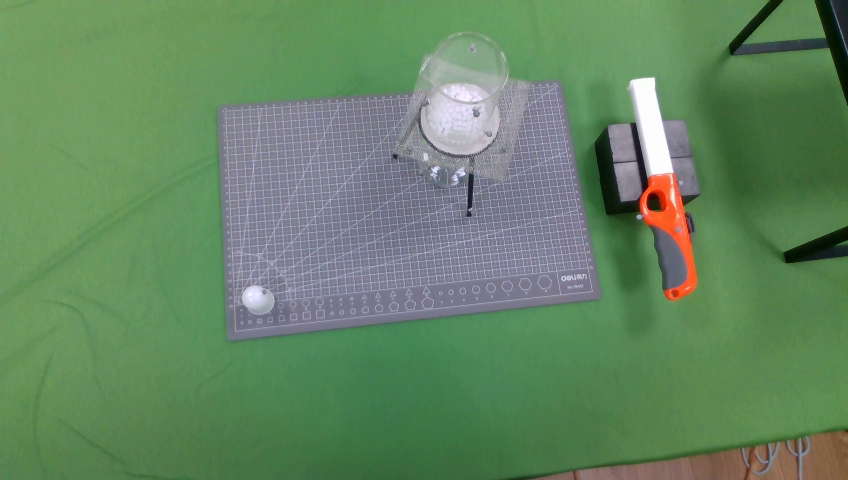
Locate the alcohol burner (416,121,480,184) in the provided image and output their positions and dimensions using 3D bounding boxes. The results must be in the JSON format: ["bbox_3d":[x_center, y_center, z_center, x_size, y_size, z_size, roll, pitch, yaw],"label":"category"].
[{"bbox_3d":[0.029,-0.111,0.717,0.078,0.119,0.077,1,78,-3],"label":"alcohol burner"}]

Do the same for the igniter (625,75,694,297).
[{"bbox_3d":[0.280,-0.069,0.724,0.057,0.025,0.275,-6,76,0],"label":"igniter"}]

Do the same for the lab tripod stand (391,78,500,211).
[{"bbox_3d":[0.034,-0.122,0.710,0.148,0.132,0.147,1,74,-3],"label":"lab tripod stand"}]

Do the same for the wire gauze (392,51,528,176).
[{"bbox_3d":[0.041,-0.135,0.646,0.121,0.011,0.124,17,72,-2],"label":"wire gauze"}]

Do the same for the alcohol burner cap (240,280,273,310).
[{"bbox_3d":[-0.195,0.061,0.696,0.034,0.048,0.033,1,75,-4],"label":"alcohol burner cap"}]

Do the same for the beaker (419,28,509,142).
[{"bbox_3d":[0.034,-0.147,0.599,0.084,0.100,0.073,-5,74,-5],"label":"beaker"}]
